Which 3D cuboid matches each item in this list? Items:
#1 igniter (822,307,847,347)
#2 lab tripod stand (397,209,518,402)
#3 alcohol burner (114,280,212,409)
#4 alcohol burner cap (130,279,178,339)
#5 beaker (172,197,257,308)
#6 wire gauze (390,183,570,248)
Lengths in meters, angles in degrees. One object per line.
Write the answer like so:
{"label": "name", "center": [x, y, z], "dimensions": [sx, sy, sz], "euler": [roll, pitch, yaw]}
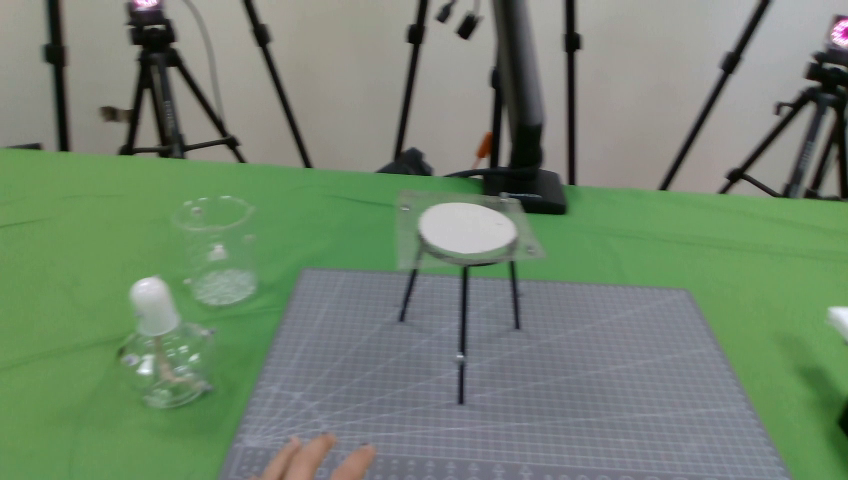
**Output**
{"label": "igniter", "center": [0.394, 0.137, 0.467], "dimensions": [0.057, 0.025, 0.274], "euler": [2, 28, 2]}
{"label": "lab tripod stand", "center": [0.036, 0.052, 0.561], "dimensions": [0.148, 0.132, 0.147], "euler": [3, 33, -2]}
{"label": "alcohol burner", "center": [-0.222, 0.084, 0.512], "dimensions": [0.078, 0.120, 0.077], "euler": [4, 30, -2]}
{"label": "alcohol burner cap", "center": [-0.222, 0.053, 0.493], "dimensions": [0.034, 0.048, 0.033], "euler": [2, 36, -1]}
{"label": "beaker", "center": [-0.214, 0.014, 0.641], "dimensions": [0.084, 0.101, 0.073], "euler": [-20, 38, -33]}
{"label": "wire gauze", "center": [0.045, -0.022, 0.521], "dimensions": [0.125, 0.011, 0.120], "euler": [-4, 27, -24]}
